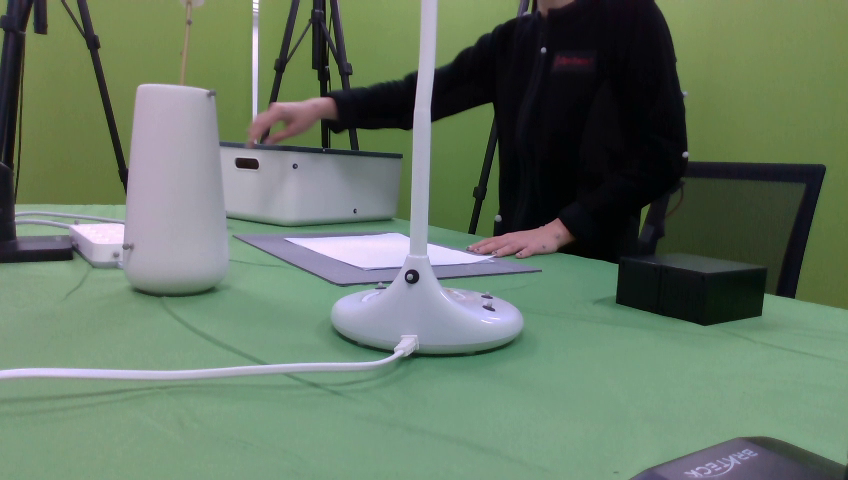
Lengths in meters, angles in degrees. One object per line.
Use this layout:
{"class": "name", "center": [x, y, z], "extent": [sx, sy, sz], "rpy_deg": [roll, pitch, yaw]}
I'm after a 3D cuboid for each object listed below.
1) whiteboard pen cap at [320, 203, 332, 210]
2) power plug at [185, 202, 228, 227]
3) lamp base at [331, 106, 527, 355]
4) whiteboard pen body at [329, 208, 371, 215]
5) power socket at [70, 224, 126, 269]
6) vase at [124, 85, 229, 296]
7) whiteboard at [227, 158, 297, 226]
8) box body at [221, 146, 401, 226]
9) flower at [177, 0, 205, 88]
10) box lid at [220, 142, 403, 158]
{"class": "whiteboard pen cap", "center": [-0.247, -0.084, 1.531], "extent": [0.033, 0.018, 0.018], "rpy_deg": [9, 10, 39]}
{"class": "power plug", "center": [-0.408, -0.043, 1.151], "extent": [0.072, 0.052, 0.035], "rpy_deg": [-17, 5, 15]}
{"class": "lamp base", "center": [0.006, -0.012, 0.478], "extent": [0.161, 0.180, 0.179], "rpy_deg": [2, 10, 2]}
{"class": "whiteboard pen body", "center": [-0.189, -0.073, 1.521], "extent": [0.140, 0.017, 0.017], "rpy_deg": [3, 6, 37]}
{"class": "power socket", "center": [-0.409, 0.004, 0.792], "extent": [0.072, 0.032, 0.225], "rpy_deg": [-2, 8, -37]}
{"class": "vase", "center": [-0.244, -0.047, 0.598], "extent": [0.098, 0.200, 0.098], "rpy_deg": [3, 8, 0]}
{"class": "whiteboard", "center": [-0.265, -0.116, 1.372], "extent": [0.216, 0.143, 0.307], "rpy_deg": [4, 7, 35]}
{"class": "box body", "center": [-0.254, -0.128, 1.379], "extent": [0.253, 0.160, 0.366], "rpy_deg": [8, 9, 36]}
{"class": "flower", "center": [-0.243, -0.131, 0.609], "extent": [0.044, 0.361, 0.038], "rpy_deg": [-5, -12, 11]}
{"class": "box lid", "center": [-0.252, -0.202, 1.368], "extent": [0.262, 0.015, 0.373], "rpy_deg": [9, 9, 36]}
